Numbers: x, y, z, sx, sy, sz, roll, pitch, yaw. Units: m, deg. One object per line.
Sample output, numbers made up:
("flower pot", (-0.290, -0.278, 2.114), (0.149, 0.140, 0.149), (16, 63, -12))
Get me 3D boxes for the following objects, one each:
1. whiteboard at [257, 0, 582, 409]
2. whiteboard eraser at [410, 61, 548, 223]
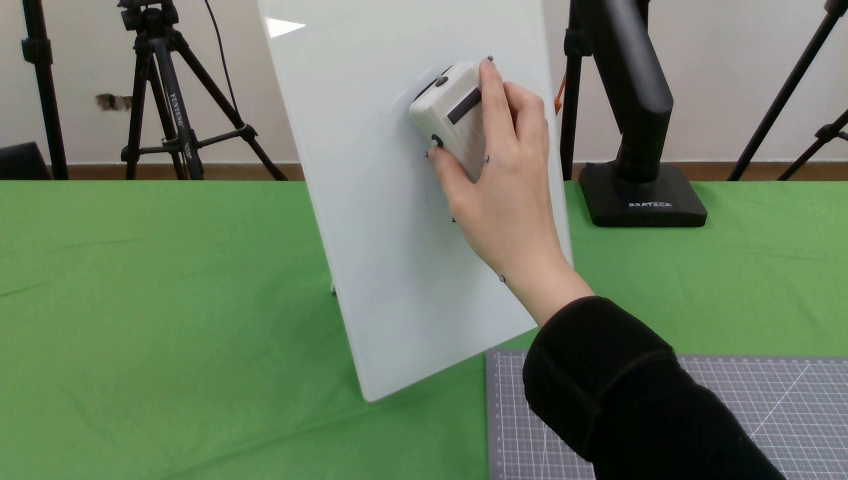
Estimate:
("whiteboard", (-0.009, -0.058, 0.519), (0.218, 0.307, 0.142), (-20, 20, -22))
("whiteboard eraser", (0.041, -0.070, 0.444), (0.055, 0.113, 0.041), (-46, 27, -14))
